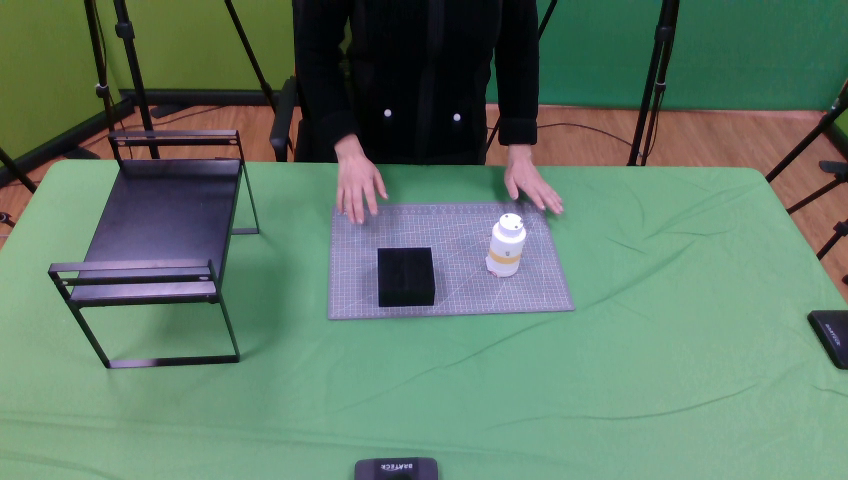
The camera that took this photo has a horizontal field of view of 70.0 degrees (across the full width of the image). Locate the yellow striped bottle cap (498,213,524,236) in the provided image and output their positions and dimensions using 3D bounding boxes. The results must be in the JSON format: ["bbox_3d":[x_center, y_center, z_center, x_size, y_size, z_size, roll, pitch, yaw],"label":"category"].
[{"bbox_3d":[0.157,-0.029,1.090,0.044,0.019,0.044,4,44,-4],"label":"yellow striped bottle cap"}]

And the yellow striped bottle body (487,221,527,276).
[{"bbox_3d":[0.155,0.007,1.128,0.063,0.121,0.062,2,46,-2],"label":"yellow striped bottle body"}]
